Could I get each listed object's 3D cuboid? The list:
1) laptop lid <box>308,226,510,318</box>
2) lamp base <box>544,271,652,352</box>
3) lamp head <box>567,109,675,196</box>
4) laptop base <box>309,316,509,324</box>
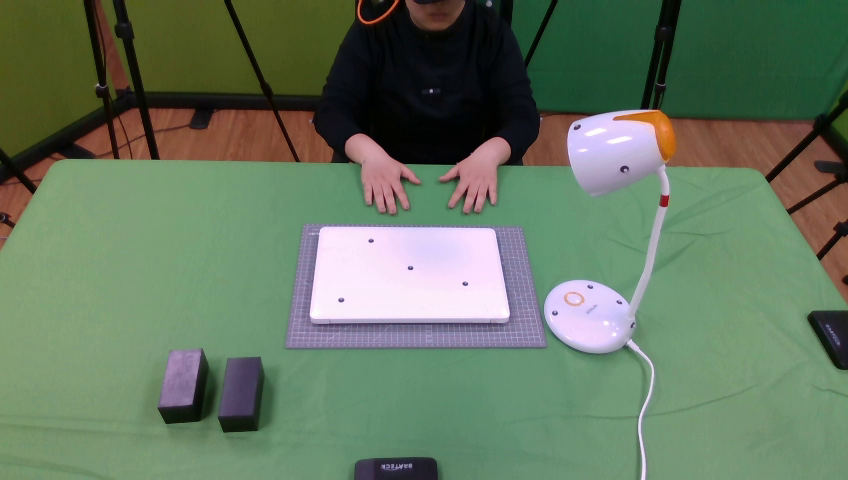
[{"bbox_3d":[-0.028,0.054,1.129,0.357,0.013,0.240,2,44,-3],"label":"laptop lid"},{"bbox_3d":[0.310,0.086,1.029,0.178,0.181,0.160,32,52,21],"label":"lamp base"},{"bbox_3d":[0.272,-0.123,0.818,0.122,0.113,0.112,-9,35,37],"label":"lamp head"},{"bbox_3d":[-0.028,0.064,1.136,0.355,0.023,0.234,0,43,-4],"label":"laptop base"}]
